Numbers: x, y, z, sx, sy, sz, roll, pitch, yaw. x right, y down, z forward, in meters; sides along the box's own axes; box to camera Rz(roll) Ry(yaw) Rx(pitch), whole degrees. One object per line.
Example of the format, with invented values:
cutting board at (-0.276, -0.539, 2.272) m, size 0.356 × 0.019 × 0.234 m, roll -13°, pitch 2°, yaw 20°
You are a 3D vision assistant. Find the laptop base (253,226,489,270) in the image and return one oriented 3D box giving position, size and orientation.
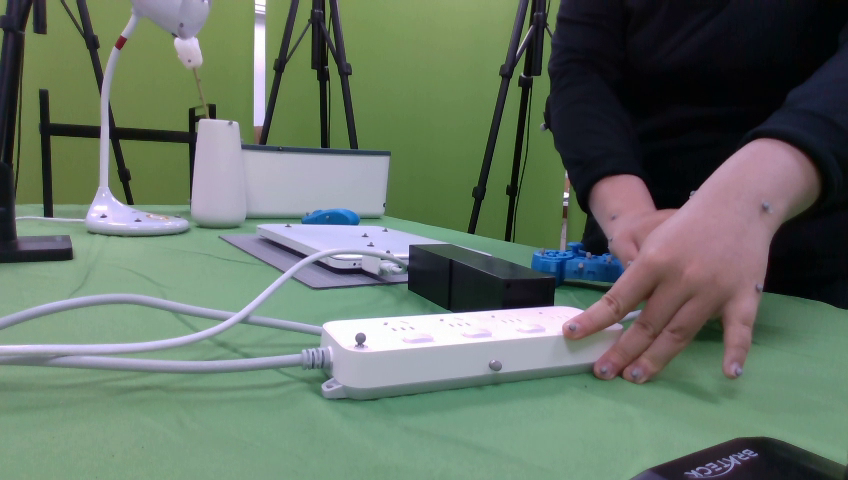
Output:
laptop base at (-0.096, 0.011, 0.911) m, size 0.237 × 0.023 × 0.352 m, roll 3°, pitch 6°, yaw -32°

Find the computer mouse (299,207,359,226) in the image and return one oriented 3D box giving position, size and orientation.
computer mouse at (-0.194, -0.046, 1.240) m, size 0.117 × 0.041 × 0.063 m, roll 0°, pitch 10°, yaw 12°

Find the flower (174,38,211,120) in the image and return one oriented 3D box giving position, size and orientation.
flower at (-0.401, -0.207, 1.141) m, size 0.038 × 0.361 × 0.044 m, roll -14°, pitch 3°, yaw 44°

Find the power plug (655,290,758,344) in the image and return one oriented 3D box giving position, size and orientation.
power plug at (0.247, 0.075, 0.525) m, size 0.072 × 0.052 × 0.035 m, roll -36°, pitch -29°, yaw 12°

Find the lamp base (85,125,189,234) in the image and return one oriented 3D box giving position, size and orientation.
lamp base at (-0.498, -0.105, 1.026) m, size 0.179 × 0.180 × 0.160 m, roll 1°, pitch 7°, yaw 2°

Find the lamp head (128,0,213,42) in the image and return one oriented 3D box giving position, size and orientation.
lamp head at (-0.423, -0.394, 0.979) m, size 0.123 × 0.112 × 0.112 m, roll 20°, pitch 7°, yaw -3°

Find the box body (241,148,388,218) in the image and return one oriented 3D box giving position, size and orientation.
box body at (-0.297, -0.143, 1.474) m, size 0.366 × 0.160 × 0.253 m, roll -1°, pitch 9°, yaw -30°

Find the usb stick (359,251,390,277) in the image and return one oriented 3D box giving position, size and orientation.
usb stick at (-0.061, 0.027, 0.707) m, size 0.021 × 0.027 × 0.059 m, roll -2°, pitch 3°, yaw -30°

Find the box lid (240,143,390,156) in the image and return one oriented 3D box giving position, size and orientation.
box lid at (-0.295, -0.217, 1.463) m, size 0.373 × 0.015 × 0.262 m, roll -1°, pitch 8°, yaw -29°

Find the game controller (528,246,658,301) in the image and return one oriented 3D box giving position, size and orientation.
game controller at (0.202, 0.036, 0.732) m, size 0.155 × 0.051 × 0.097 m, roll 5°, pitch 10°, yaw 20°

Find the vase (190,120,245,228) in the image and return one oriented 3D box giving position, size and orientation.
vase at (-0.389, -0.124, 1.142) m, size 0.098 × 0.200 × 0.098 m, roll 3°, pitch 9°, yaw 0°

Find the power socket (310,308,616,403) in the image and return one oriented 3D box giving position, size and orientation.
power socket at (0.032, 0.074, 0.415) m, size 0.228 × 0.032 × 0.072 m, roll -1°, pitch 8°, yaw -25°

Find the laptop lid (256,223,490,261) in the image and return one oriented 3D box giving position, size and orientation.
laptop lid at (-0.093, 0.000, 0.911) m, size 0.243 × 0.013 × 0.355 m, roll 1°, pitch 7°, yaw -30°
